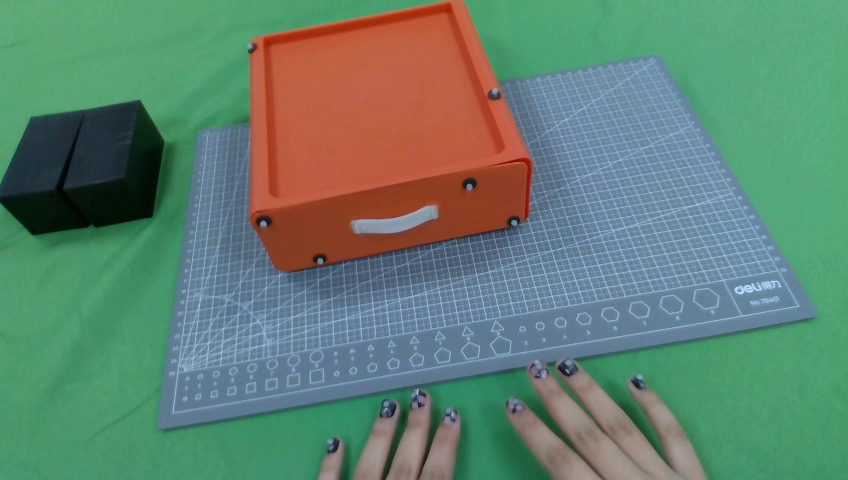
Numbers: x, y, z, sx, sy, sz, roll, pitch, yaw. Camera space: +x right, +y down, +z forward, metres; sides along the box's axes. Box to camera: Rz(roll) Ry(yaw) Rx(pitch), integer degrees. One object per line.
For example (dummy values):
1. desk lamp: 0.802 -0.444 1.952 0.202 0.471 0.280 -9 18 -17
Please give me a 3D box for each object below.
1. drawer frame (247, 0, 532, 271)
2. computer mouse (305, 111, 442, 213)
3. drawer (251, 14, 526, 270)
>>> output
1. drawer frame: -0.038 -0.093 0.502 0.202 0.083 0.211 -12 52 -2
2. computer mouse: -0.043 -0.064 0.485 0.117 0.041 0.062 -17 53 12
3. drawer: -0.037 -0.091 0.501 0.194 0.074 0.209 -12 52 -1
